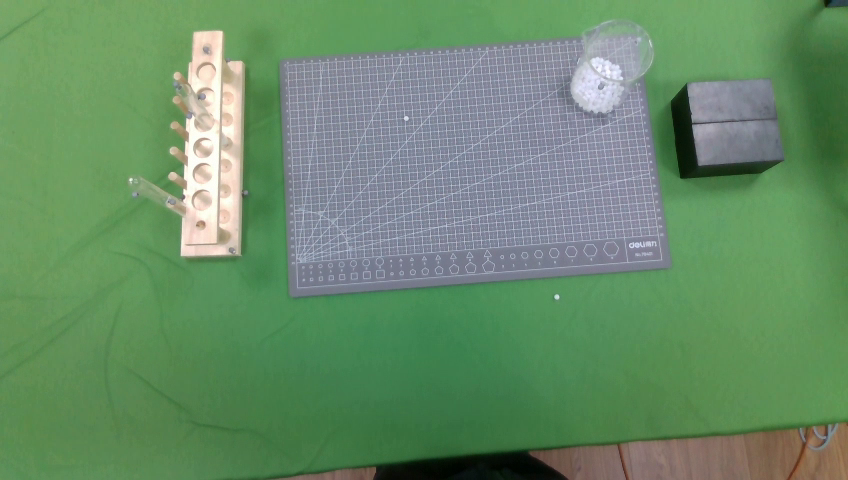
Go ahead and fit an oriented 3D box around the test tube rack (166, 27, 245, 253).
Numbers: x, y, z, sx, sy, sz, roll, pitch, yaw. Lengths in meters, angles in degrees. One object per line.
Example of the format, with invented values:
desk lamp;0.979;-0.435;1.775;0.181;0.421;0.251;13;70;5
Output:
test tube rack;-0.254;-0.111;0.697;0.067;0.085;0.241;-1;80;0

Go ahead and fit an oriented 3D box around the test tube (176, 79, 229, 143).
test tube;-0.235;-0.134;0.651;0.017;0.150;0.017;1;80;-4

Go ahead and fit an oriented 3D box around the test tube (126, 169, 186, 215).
test tube;-0.272;-0.047;0.640;0.017;0.151;0.017;0;79;2

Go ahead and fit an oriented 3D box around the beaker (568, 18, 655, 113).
beaker;0.209;-0.199;0.703;0.084;0.100;0.074;33;81;7
